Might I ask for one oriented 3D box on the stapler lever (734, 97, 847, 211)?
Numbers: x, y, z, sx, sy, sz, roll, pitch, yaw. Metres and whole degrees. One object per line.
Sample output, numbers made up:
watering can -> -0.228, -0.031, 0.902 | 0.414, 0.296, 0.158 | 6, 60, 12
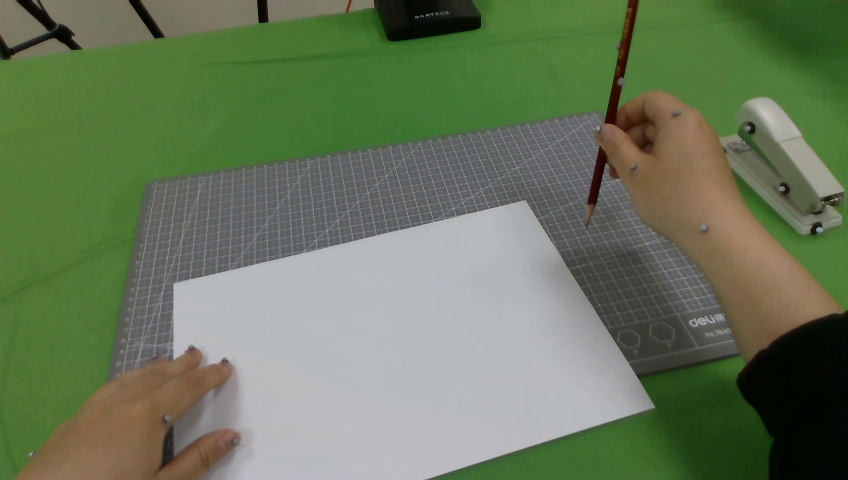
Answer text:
stapler lever -> 0.304, -0.076, 0.505 | 0.027, 0.040, 0.116 | -16, 49, -7

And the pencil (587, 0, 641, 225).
pencil -> 0.135, -0.102, 0.429 | 0.012, 0.195, 0.012 | 6, 20, -2

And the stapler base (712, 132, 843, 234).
stapler base -> 0.304, -0.059, 0.525 | 0.041, 0.025, 0.129 | -16, 48, -8
